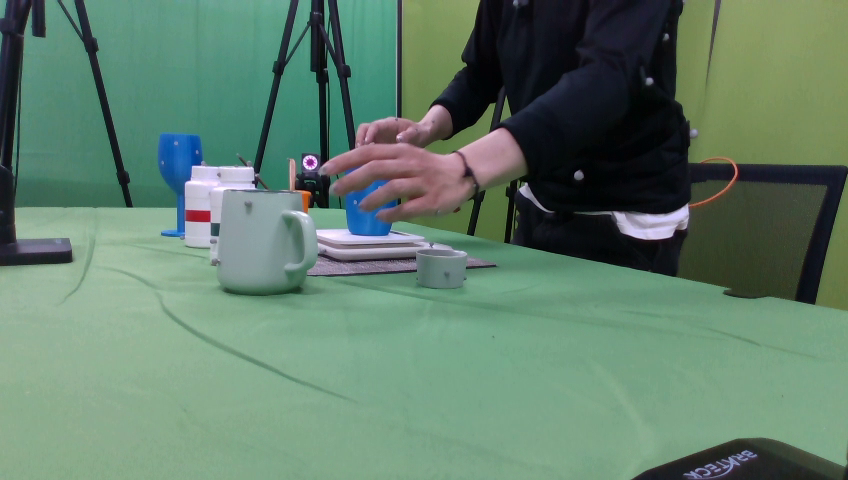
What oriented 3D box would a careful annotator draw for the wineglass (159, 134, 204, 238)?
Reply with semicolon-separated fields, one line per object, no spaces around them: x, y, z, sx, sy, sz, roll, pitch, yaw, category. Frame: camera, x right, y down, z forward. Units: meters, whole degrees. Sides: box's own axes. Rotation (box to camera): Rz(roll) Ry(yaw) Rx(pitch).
-0.415;-0.093;1.039;0.074;0.172;0.073;2;7;0;wineglass

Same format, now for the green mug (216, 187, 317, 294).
-0.157;0.000;0.629;0.124;0.105;0.093;7;9;37;green mug

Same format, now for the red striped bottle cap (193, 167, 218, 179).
-0.329;-0.103;0.921;0.044;0.017;0.044;-1;9;0;red striped bottle cap

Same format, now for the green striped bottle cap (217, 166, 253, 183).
-0.242;-0.085;0.777;0.044;0.020;0.044;2;9;0;green striped bottle cap

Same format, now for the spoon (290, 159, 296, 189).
-0.273;-0.102;1.252;0.042;0.193;0.021;7;-38;-17;spoon

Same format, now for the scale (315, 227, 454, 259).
-0.066;0.001;0.906;0.202;0.031;0.148;-2;8;-31;scale

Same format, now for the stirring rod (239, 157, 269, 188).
-0.309;-0.098;1.209;0.006;0.177;0.014;-39;29;-4;stirring rod

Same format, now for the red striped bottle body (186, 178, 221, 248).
-0.331;-0.050;0.927;0.063;0.119;0.063;2;6;0;red striped bottle body

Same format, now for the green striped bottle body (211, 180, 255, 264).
-0.243;-0.029;0.784;0.063;0.119;0.063;2;7;0;green striped bottle body

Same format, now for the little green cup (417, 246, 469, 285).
0.021;0.029;0.701;0.061;0.038;0.061;2;6;0;little green cup

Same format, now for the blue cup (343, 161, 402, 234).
-0.078;-0.062;0.884;0.093;0.100;0.092;4;6;0;blue cup
